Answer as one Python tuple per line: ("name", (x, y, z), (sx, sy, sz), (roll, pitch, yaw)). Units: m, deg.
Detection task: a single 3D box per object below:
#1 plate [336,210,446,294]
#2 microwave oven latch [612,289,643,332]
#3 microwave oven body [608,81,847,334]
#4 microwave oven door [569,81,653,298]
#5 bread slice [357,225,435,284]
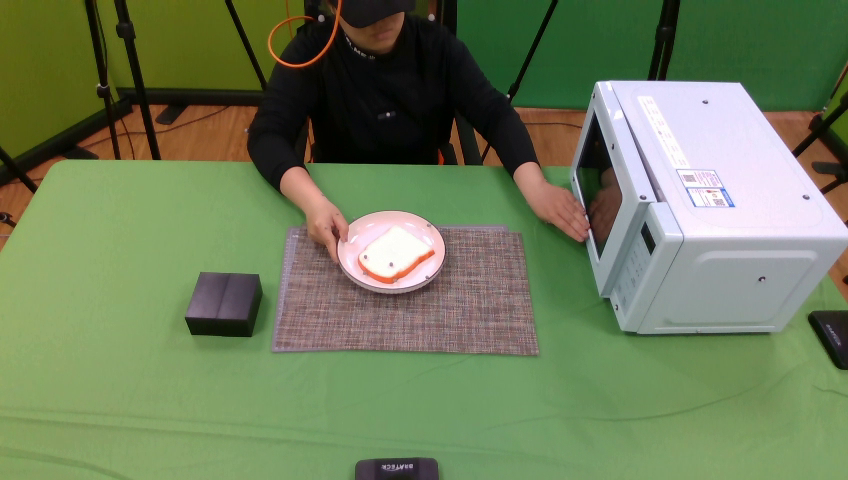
("plate", (-0.062, 0.026, 1.153), (0.209, 0.038, 0.208), (3, 46, -2))
("microwave oven latch", (0.357, 0.124, 1.068), (0.030, 0.029, 0.078), (0, 45, -3))
("microwave oven body", (0.501, -0.070, 1.132), (0.326, 0.261, 0.438), (-1, 45, -3))
("microwave oven door", (0.344, -0.104, 1.146), (0.039, 0.245, 0.353), (2, 46, -2))
("bread slice", (-0.059, 0.029, 1.153), (0.104, 0.019, 0.131), (34, 53, 26))
